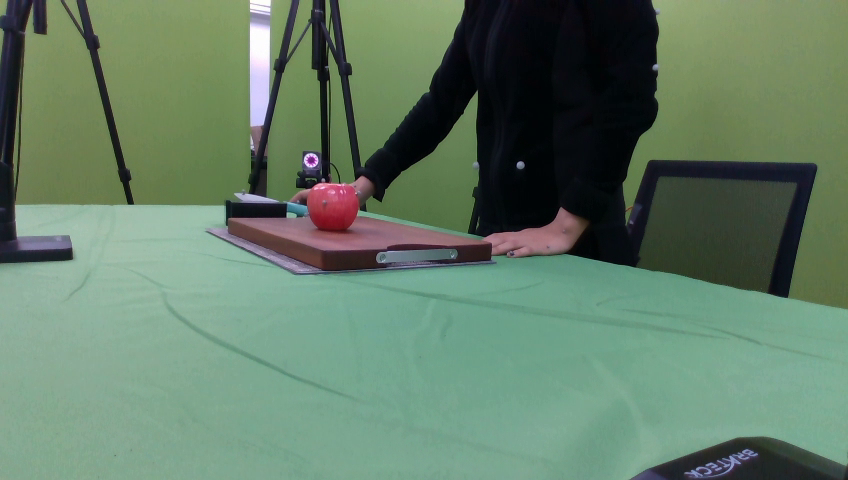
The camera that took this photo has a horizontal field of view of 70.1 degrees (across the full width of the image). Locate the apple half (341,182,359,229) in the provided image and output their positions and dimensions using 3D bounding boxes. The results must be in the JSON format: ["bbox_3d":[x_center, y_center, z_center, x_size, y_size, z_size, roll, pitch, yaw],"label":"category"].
[{"bbox_3d":[-0.120,-0.056,0.963,0.033,0.081,0.081,-5,9,-19],"label":"apple half"}]

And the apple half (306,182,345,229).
[{"bbox_3d":[-0.157,-0.054,0.950,0.053,0.074,0.080,-5,13,-20],"label":"apple half"}]

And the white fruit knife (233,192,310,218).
[{"bbox_3d":[-0.276,-0.066,1.210,0.208,0.027,0.016,14,0,-24],"label":"white fruit knife"}]
